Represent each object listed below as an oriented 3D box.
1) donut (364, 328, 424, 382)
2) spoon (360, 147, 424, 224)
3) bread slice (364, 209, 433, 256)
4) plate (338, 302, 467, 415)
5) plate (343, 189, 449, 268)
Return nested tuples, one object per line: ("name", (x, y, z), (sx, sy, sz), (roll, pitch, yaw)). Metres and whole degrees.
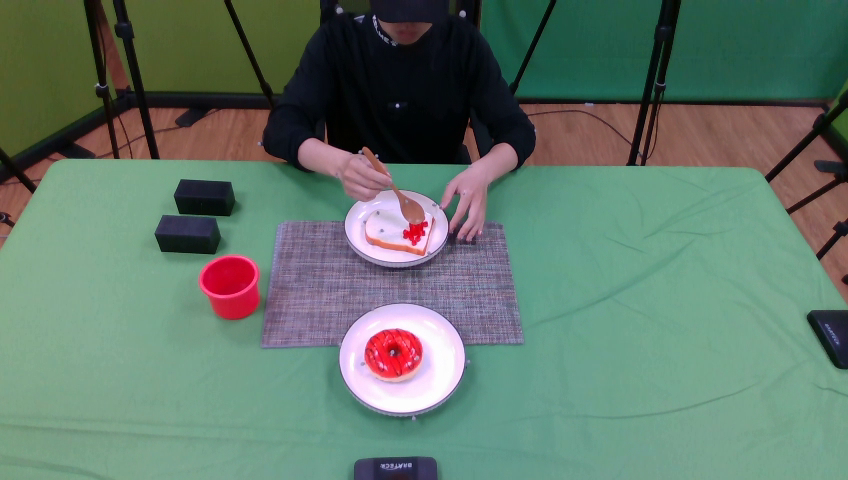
("donut", (-0.049, 0.185, 0.984), (0.099, 0.048, 0.098), (1, 45, -1))
("spoon", (-0.058, -0.099, 1.113), (0.041, 0.195, 0.021), (-29, 39, 13))
("bread slice", (-0.054, -0.019, 1.199), (0.131, 0.019, 0.104), (11, 46, 3))
("plate", (-0.035, 0.194, 0.992), (0.208, 0.039, 0.206), (2, 48, -2))
("plate", (-0.055, -0.019, 1.195), (0.209, 0.038, 0.208), (2, 46, -2))
